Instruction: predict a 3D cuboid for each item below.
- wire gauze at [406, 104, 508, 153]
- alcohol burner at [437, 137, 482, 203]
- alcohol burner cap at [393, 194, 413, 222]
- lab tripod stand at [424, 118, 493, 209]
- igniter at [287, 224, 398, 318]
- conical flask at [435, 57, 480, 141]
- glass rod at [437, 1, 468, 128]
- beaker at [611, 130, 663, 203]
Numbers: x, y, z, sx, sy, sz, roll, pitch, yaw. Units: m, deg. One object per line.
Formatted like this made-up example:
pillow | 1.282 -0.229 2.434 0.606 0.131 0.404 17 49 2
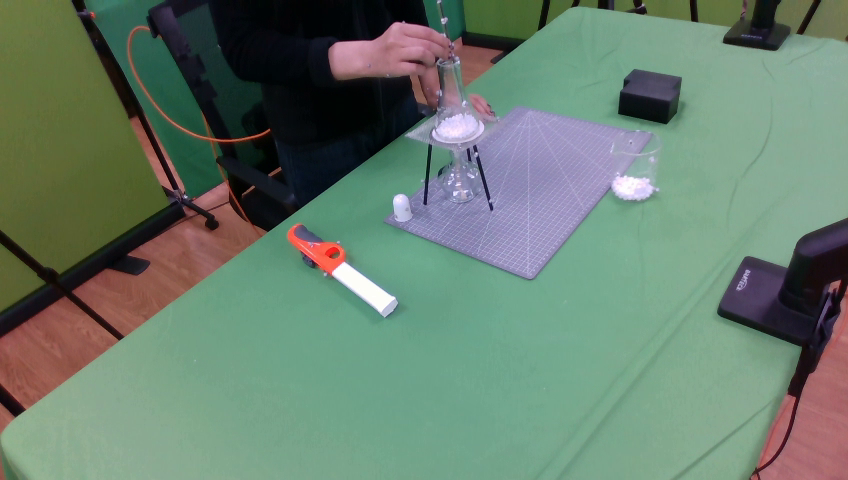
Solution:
wire gauze | 0.054 -0.183 0.997 0.120 0.011 0.125 26 53 38
alcohol burner | 0.060 -0.125 1.045 0.078 0.119 0.077 -5 38 4
alcohol burner cap | -0.039 -0.057 1.038 0.034 0.048 0.033 -6 40 5
lab tripod stand | 0.061 -0.133 1.039 0.148 0.132 0.147 -6 38 6
igniter | -0.139 0.042 0.958 0.057 0.025 0.274 -42 49 -19
conical flask | 0.046 -0.225 0.955 0.075 0.122 0.075 -7 39 6
glass rod | 0.046 -0.263 0.927 0.008 0.200 0.008 -12 32 8
beaker | 0.346 -0.118 0.998 0.084 0.101 0.073 -17 40 -7
